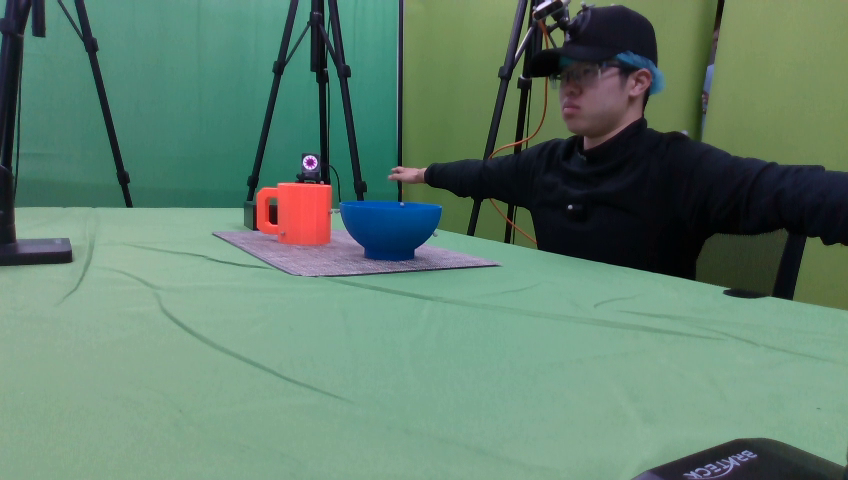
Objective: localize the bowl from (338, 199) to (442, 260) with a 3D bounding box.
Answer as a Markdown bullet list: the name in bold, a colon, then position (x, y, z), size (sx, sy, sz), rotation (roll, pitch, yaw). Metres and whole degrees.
- **bowl**: position (-0.050, -0.015, 0.878), size (0.151, 0.077, 0.151), rotation (2, 8, 0)

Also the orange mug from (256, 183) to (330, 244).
- **orange mug**: position (-0.216, -0.047, 0.999), size (0.126, 0.100, 0.083), rotation (7, 8, 8)
